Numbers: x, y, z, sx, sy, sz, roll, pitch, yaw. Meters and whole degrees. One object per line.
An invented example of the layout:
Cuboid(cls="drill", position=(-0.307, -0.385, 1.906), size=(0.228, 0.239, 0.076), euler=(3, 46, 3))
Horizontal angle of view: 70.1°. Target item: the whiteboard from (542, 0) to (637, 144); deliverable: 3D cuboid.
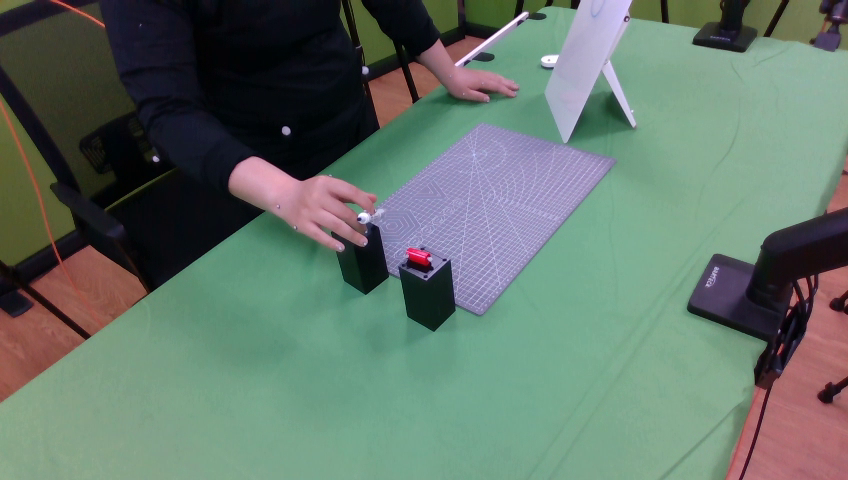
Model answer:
Cuboid(cls="whiteboard", position=(0.366, -0.351, 1.160), size=(0.144, 0.305, 0.216), euler=(10, 39, -10))

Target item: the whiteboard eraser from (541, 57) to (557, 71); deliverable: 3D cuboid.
Cuboid(cls="whiteboard eraser", position=(0.323, -0.412, 1.407), size=(0.101, 0.019, 0.041), euler=(1, 42, 11))

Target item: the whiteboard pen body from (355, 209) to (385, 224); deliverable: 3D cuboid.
Cuboid(cls="whiteboard pen body", position=(-0.074, -0.032, 0.826), size=(0.017, 0.017, 0.141), euler=(0, 5, 9))

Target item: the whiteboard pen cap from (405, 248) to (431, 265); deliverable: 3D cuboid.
Cuboid(cls="whiteboard pen cap", position=(-0.008, 0.021, 0.794), size=(0.032, 0.017, 0.017), euler=(17, 46, 28))
